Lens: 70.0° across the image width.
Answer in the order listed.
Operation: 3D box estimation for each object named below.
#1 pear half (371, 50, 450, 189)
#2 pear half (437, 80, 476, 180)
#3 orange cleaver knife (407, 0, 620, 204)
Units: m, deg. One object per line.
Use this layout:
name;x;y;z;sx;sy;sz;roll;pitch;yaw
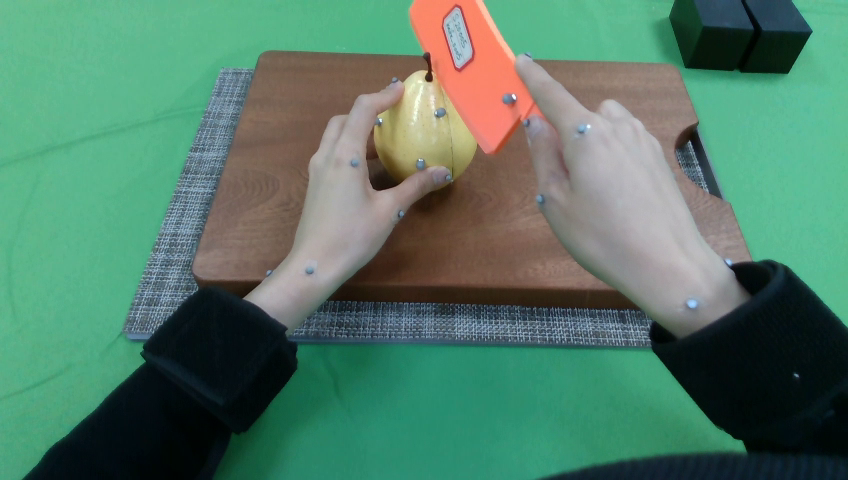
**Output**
pear half;-0.011;-0.088;0.441;0.056;0.111;0.075;-14;49;-12
pear half;0.023;-0.089;0.455;0.031;0.089;0.069;-15;50;-13
orange cleaver knife;0.043;-0.093;0.372;0.012;0.077;0.209;-14;61;-31
